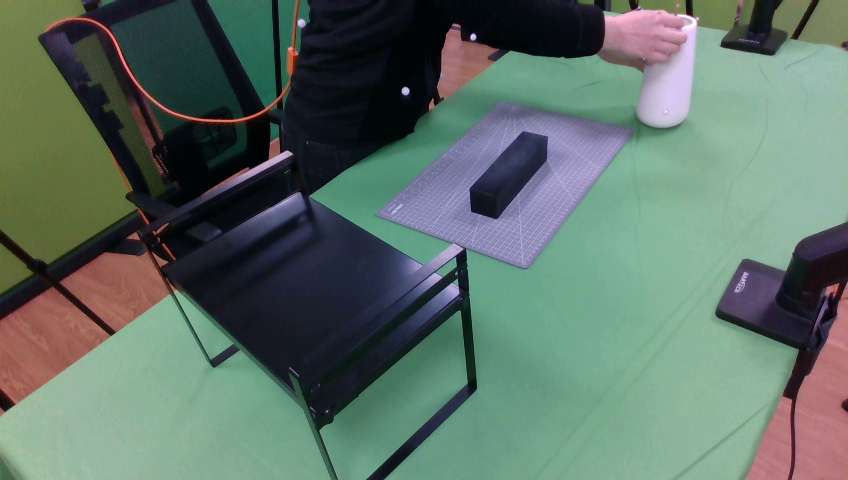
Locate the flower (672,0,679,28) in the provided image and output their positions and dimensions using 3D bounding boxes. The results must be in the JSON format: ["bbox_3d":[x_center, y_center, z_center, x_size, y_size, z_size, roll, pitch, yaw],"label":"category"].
[{"bbox_3d":[0.441,-0.361,1.068,0.043,0.364,0.038,37,75,31],"label":"flower"}]

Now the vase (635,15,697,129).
[{"bbox_3d":[0.457,-0.310,1.133,0.098,0.201,0.097,-4,42,4],"label":"vase"}]
